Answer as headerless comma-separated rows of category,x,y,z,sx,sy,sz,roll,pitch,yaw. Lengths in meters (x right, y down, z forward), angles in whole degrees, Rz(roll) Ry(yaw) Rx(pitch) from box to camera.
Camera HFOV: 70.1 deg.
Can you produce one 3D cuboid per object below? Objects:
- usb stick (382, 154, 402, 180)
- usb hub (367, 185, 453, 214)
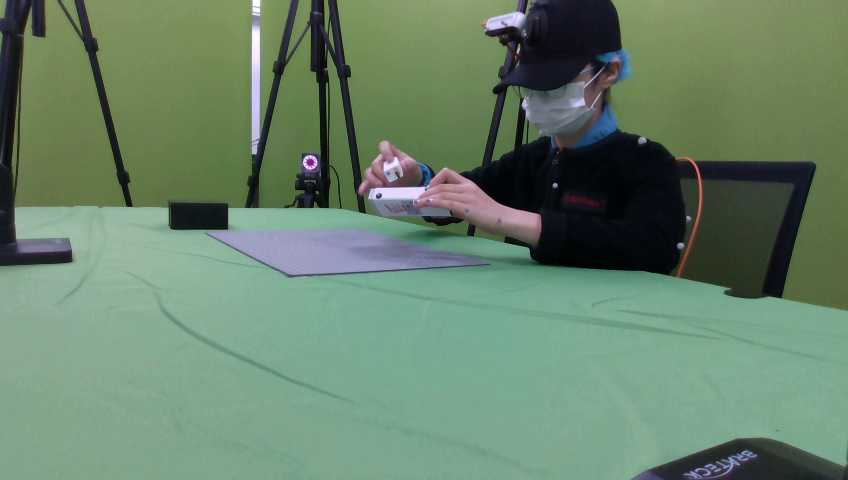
usb stick,-0.050,-0.113,0.953,0.027,0.021,0.059,-25,27,5
usb hub,-0.021,-0.062,0.930,0.125,0.025,0.050,0,-29,20
